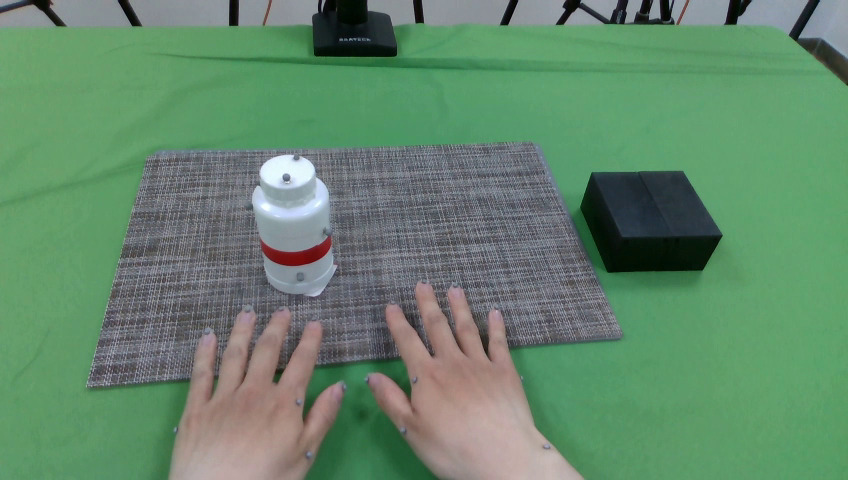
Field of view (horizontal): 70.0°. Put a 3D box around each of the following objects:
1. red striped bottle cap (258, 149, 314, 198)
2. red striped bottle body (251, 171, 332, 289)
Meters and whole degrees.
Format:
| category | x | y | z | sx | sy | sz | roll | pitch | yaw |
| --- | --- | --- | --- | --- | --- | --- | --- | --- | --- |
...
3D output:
| category | x | y | z | sx | sy | sz | roll | pitch | yaw |
| --- | --- | --- | --- | --- | --- | --- | --- | --- | --- |
| red striped bottle cap | -0.112 | -0.055 | 0.491 | 0.044 | 0.018 | 0.044 | 5 | 45 | -5 |
| red striped bottle body | -0.114 | -0.017 | 0.530 | 0.063 | 0.120 | 0.062 | 3 | 46 | -3 |
